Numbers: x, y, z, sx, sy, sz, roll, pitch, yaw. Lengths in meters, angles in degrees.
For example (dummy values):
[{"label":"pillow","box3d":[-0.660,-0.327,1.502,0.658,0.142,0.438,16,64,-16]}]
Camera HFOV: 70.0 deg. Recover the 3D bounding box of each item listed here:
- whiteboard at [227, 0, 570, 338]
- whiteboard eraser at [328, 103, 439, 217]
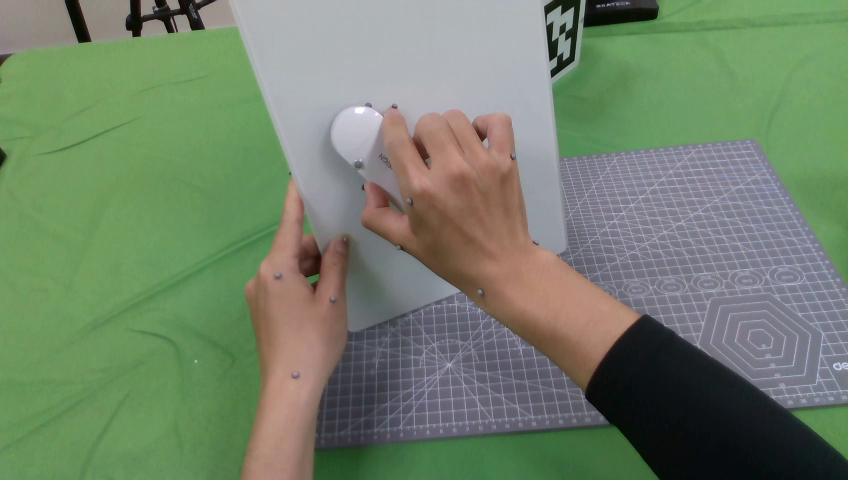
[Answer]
[{"label":"whiteboard","box3d":[-0.019,-0.110,0.519,0.217,0.308,0.142,-20,31,-10]},{"label":"whiteboard eraser","box3d":[-0.029,-0.058,0.448,0.041,0.102,0.018,-47,27,-6]}]
